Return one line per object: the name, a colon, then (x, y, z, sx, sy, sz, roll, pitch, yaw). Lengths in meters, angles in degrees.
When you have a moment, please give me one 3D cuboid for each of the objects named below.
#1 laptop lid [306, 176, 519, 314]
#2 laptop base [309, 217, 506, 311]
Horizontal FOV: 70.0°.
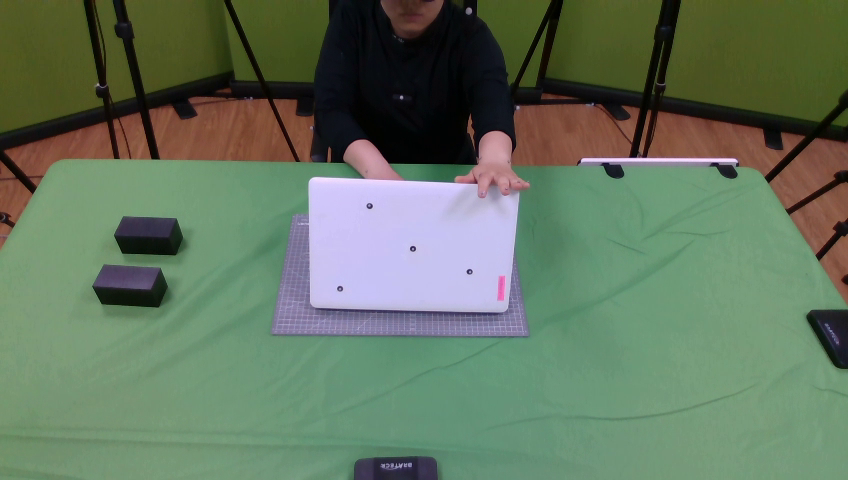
laptop lid: (-0.022, 0.013, 1.030, 0.357, 0.242, 0.013, 3, 17, -3)
laptop base: (-0.029, 0.045, 1.154, 0.354, 0.023, 0.234, 2, 42, -3)
